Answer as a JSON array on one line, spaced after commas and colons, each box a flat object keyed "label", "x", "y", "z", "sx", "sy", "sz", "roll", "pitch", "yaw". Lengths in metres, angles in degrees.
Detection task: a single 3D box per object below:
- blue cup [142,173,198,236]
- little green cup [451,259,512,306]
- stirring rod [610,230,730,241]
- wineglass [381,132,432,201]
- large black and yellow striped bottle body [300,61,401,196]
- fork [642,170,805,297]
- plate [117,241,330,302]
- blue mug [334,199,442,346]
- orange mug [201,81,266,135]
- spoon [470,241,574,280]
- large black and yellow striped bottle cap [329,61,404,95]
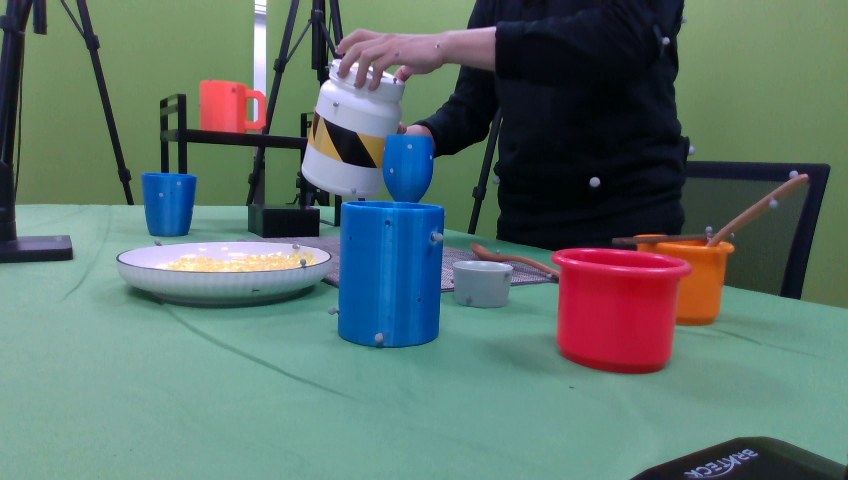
[{"label": "blue cup", "x": -0.425, "y": -0.060, "z": 1.014, "sx": 0.093, "sy": 0.100, "sz": 0.092, "roll": 4, "pitch": 9, "yaw": 0}, {"label": "little green cup", "x": 0.057, "y": 0.043, "z": 0.611, "sx": 0.061, "sy": 0.038, "sz": 0.061, "roll": 3, "pitch": 8, "yaw": 0}, {"label": "stirring rod", "x": 0.241, "y": -0.005, "z": 0.582, "sx": 0.177, "sy": 0.006, "sz": 0.014, "roll": -3, "pitch": 10, "yaw": -34}, {"label": "wineglass", "x": -0.026, "y": -0.062, "z": 0.841, "sx": 0.074, "sy": 0.172, "sz": 0.073, "roll": 2, "pitch": 8, "yaw": 0}, {"label": "large black and yellow striped bottle body", "x": -0.112, "y": -0.175, "z": 0.953, "sx": 0.131, "sy": 0.184, "sz": 0.130, "roll": 16, "pitch": 22, "yaw": -6}, {"label": "fork", "x": 0.261, "y": 0.003, "z": 0.545, "sx": 0.028, "sy": 0.018, "sz": 0.207, "roll": 5, "pitch": -37, "yaw": -16}, {"label": "plate", "x": -0.203, "y": 0.031, "z": 0.630, "sx": 0.209, "sy": 0.038, "sz": 0.209, "roll": 3, "pitch": 7, "yaw": 0}, {"label": "blue mug", "x": -0.034, "y": 0.020, "z": 0.498, "sx": 0.083, "sy": 0.106, "sz": 0.116, "roll": 0, "pitch": 7, "yaw": -20}, {"label": "orange mug", "x": -0.376, "y": -0.260, "z": 1.198, "sx": 0.126, "sy": 0.101, "sz": 0.083, "roll": -3, "pitch": 8, "yaw": -6}, {"label": "spoon", "x": 0.124, "y": 0.025, "z": 0.800, "sx": 0.042, "sy": 0.021, "sz": 0.192, "roll": 23, "pitch": -6, "yaw": -34}, {"label": "large black and yellow striped bottle cap", "x": -0.086, "y": -0.248, "z": 0.921, "sx": 0.115, "sy": 0.019, "sz": 0.115, "roll": 15, "pitch": 22, "yaw": -6}]
